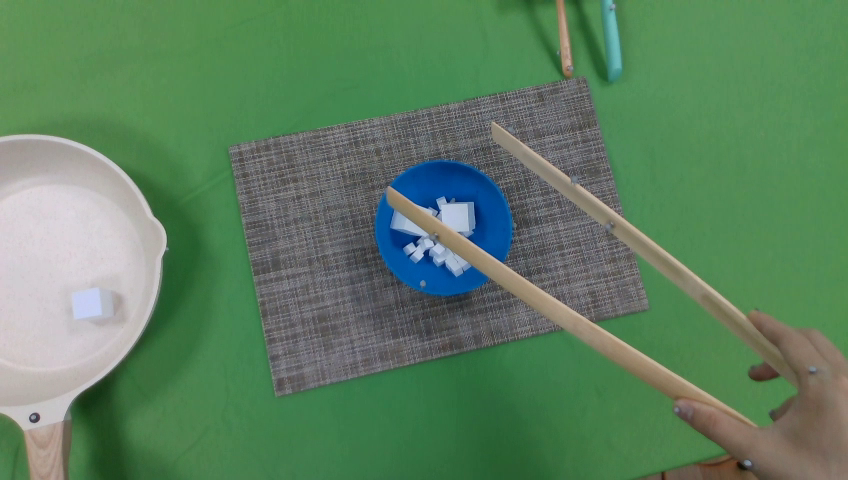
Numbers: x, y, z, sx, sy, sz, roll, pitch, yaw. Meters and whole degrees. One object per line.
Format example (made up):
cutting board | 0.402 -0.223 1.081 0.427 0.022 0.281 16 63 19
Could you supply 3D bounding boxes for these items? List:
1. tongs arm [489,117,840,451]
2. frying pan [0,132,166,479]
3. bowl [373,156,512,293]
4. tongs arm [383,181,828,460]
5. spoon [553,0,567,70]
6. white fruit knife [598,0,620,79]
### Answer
tongs arm | 0.161 0.007 0.499 0.051 0.027 0.380 -31 54 -21
frying pan | -0.400 0.128 0.630 0.307 0.103 0.484 -13 74 -4
bowl | 0.018 -0.012 0.686 0.151 0.077 0.151 1 82 -4
tongs arm | 0.105 0.046 0.473 0.384 0.028 0.028 34 56 29
spoon | 0.162 -0.306 0.735 0.041 0.021 0.194 0 103 18
white fruit knife | 0.218 -0.305 0.744 0.016 0.027 0.208 -12 97 -10
